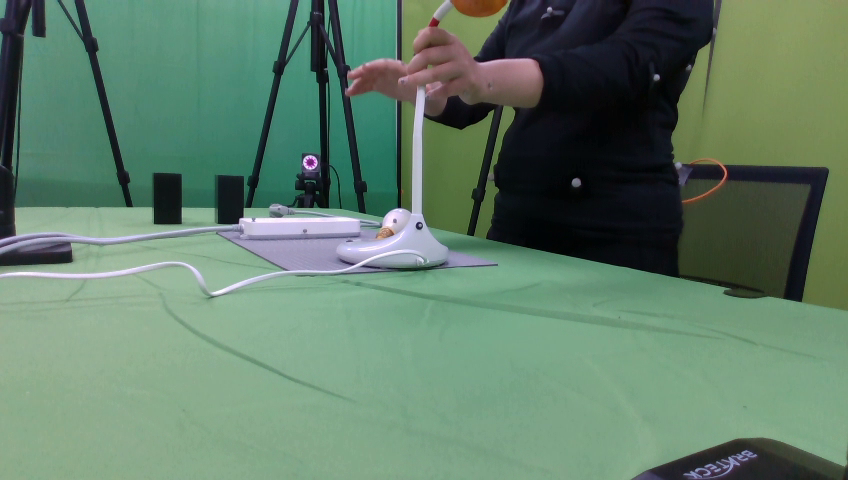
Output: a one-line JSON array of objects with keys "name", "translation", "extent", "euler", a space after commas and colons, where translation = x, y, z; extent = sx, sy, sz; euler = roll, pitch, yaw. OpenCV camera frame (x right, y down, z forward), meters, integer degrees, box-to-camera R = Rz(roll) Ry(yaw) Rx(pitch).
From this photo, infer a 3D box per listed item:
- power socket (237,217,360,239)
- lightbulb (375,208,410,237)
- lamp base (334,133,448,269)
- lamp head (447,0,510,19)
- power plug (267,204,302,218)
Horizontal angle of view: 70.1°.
[{"name": "power socket", "translation": [-0.220, -0.023, 1.080], "extent": [0.228, 0.032, 0.072], "euler": [-2, 8, -33]}, {"name": "lightbulb", "translation": [-0.052, -0.017, 1.021], "extent": [0.059, 0.059, 0.108], "euler": [6, 21, 22]}, {"name": "lamp base", "translation": [-0.034, -0.057, 0.831], "extent": [0.161, 0.180, 0.178], "euler": [-2, 11, -36]}, {"name": "lamp head", "translation": [0.062, -0.323, 0.704], "extent": [0.112, 0.122, 0.112], "euler": [5, -3, 1]}, {"name": "power plug", "translation": [-0.327, -0.060, 1.404], "extent": [0.073, 0.035, 0.052], "euler": [22, -14, -25]}]
